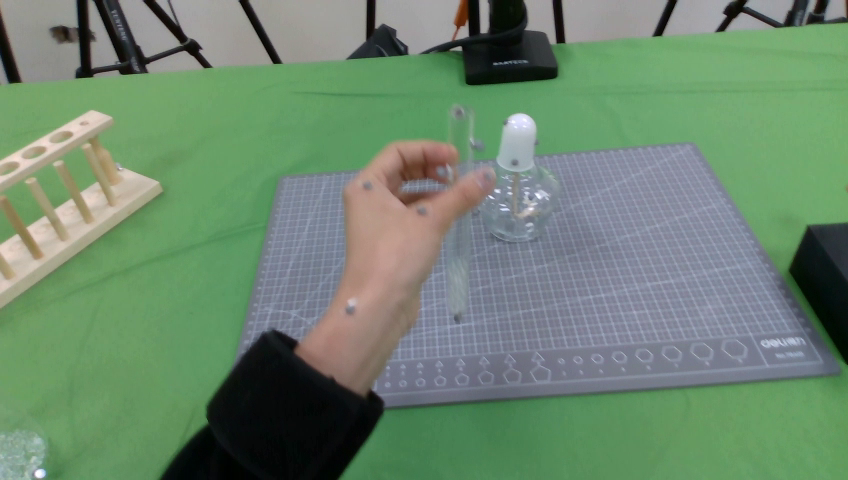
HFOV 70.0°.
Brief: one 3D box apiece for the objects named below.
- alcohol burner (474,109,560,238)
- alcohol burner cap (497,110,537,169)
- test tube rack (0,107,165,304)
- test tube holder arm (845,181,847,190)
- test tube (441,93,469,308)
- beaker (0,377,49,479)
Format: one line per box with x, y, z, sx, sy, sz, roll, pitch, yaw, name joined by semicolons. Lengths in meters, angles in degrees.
0.083;-0.061;0.537;0.078;0.120;0.077;-3;41;3;alcohol burner
0.080;-0.086;0.512;0.034;0.048;0.033;1;43;-1;alcohol burner cap
-0.374;-0.025;0.568;0.066;0.086;0.241;21;49;25;test tube rack
0.353;-0.020;0.467;0.010;0.015;0.087;3;43;-3;test tube holder arm
0.020;-0.018;0.384;0.017;0.151;0.017;-1;32;1;test tube
-0.304;0.123;0.393;0.084;0.101;0.073;-21;45;-15;beaker
